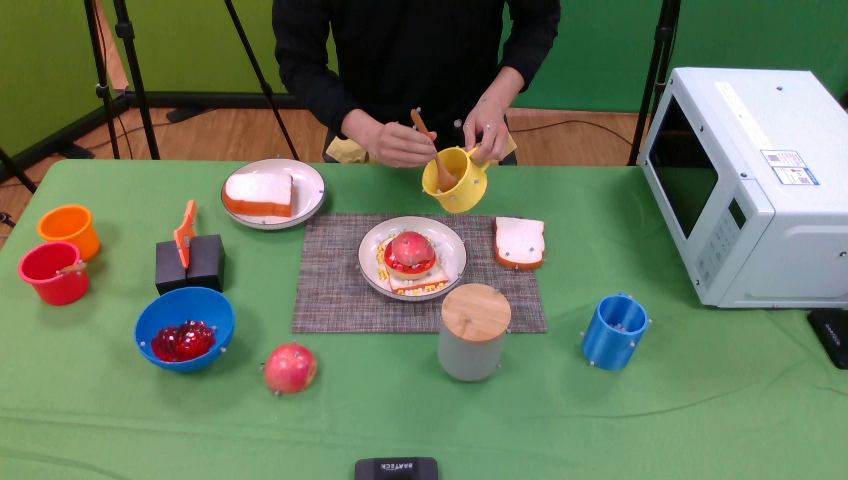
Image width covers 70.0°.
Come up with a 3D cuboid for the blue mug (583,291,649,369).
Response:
[{"bbox_3d":[0.324,0.142,1.023,0.082,0.106,0.116,15,47,11],"label":"blue mug"}]

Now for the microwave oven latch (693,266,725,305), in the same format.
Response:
[{"bbox_3d":[0.523,0.082,1.115,0.030,0.029,0.078,3,46,0],"label":"microwave oven latch"}]

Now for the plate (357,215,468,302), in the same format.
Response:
[{"bbox_3d":[-0.022,0.037,1.141,0.208,0.039,0.206,2,46,-2],"label":"plate"}]

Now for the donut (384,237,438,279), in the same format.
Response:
[{"bbox_3d":[-0.025,0.030,1.110,0.099,0.048,0.098,3,46,-2],"label":"donut"}]

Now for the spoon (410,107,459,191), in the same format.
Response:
[{"bbox_3d":[0.019,-0.143,1.014,0.041,0.195,0.021,-8,41,26],"label":"spoon"}]

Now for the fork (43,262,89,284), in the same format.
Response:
[{"bbox_3d":[-0.599,0.053,1.013,0.207,0.019,0.028,-14,30,45],"label":"fork"}]

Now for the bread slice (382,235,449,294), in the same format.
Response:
[{"bbox_3d":[-0.026,0.042,1.144,0.107,0.018,0.133,-14,53,-14],"label":"bread slice"}]

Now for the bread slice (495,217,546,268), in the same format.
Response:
[{"bbox_3d":[0.194,0.002,1.205,0.105,0.019,0.131,5,45,3],"label":"bread slice"}]

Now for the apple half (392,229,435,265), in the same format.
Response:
[{"bbox_3d":[-0.020,0.005,1.083,0.081,0.033,0.081,6,48,-6],"label":"apple half"}]

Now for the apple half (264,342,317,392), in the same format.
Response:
[{"bbox_3d":[-0.214,0.198,0.970,0.074,0.053,0.080,19,48,11],"label":"apple half"}]

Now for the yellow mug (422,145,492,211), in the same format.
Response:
[{"bbox_3d":[0.066,-0.120,1.074,0.131,0.064,0.099,-41,46,10],"label":"yellow mug"}]

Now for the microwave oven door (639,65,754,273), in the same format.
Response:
[{"bbox_3d":[0.522,-0.147,1.193,0.039,0.245,0.353,0,47,-3],"label":"microwave oven door"}]

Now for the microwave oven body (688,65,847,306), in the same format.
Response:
[{"bbox_3d":[0.669,-0.111,1.176,0.326,0.261,0.439,0,46,-3],"label":"microwave oven body"}]

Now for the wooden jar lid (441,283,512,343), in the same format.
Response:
[{"bbox_3d":[0.080,0.114,0.931,0.108,0.021,0.107,1,49,-1],"label":"wooden jar lid"}]

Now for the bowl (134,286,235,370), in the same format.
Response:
[{"bbox_3d":[-0.377,0.155,0.981,0.151,0.077,0.150,2,46,-2],"label":"bowl"}]

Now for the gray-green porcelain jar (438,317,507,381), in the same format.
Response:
[{"bbox_3d":[0.076,0.158,0.977,0.106,0.127,0.105,2,47,-2],"label":"gray-green porcelain jar"}]

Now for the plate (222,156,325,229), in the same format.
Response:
[{"bbox_3d":[-0.308,-0.095,1.251,0.209,0.038,0.208,2,46,-2],"label":"plate"}]

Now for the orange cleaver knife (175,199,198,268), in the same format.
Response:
[{"bbox_3d":[-0.438,-0.017,1.138,0.012,0.077,0.210,-14,27,-6],"label":"orange cleaver knife"}]
